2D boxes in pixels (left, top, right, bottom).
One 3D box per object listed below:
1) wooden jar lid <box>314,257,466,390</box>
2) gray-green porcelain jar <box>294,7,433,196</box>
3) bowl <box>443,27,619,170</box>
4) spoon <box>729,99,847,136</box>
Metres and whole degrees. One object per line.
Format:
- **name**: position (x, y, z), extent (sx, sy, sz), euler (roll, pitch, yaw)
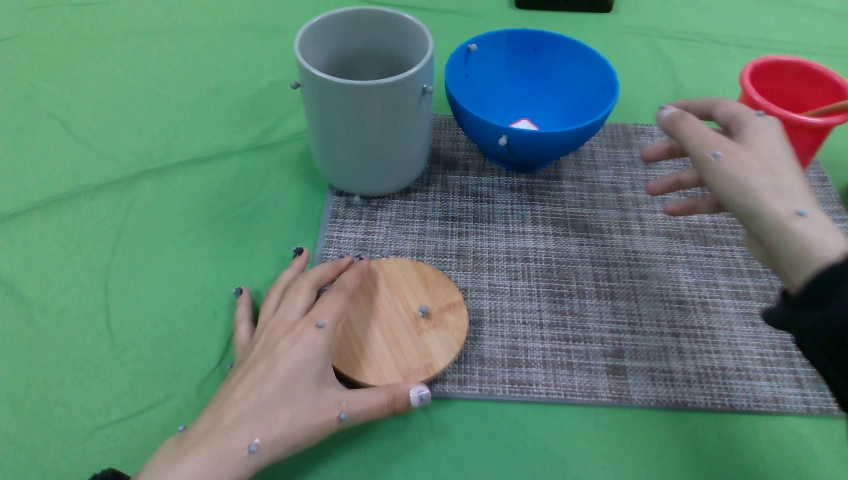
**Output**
- **wooden jar lid**: position (-0.024, 0.060, 0.435), extent (0.108, 0.021, 0.107), euler (0, 50, 0)
- **gray-green porcelain jar**: position (-0.047, -0.108, 0.503), extent (0.106, 0.127, 0.105), euler (1, 50, -1)
- **bowl**: position (0.090, -0.117, 0.547), extent (0.151, 0.077, 0.150), euler (1, 51, -1)
- **spoon**: position (0.349, -0.109, 0.508), extent (0.041, 0.192, 0.022), euler (-32, 104, -23)
